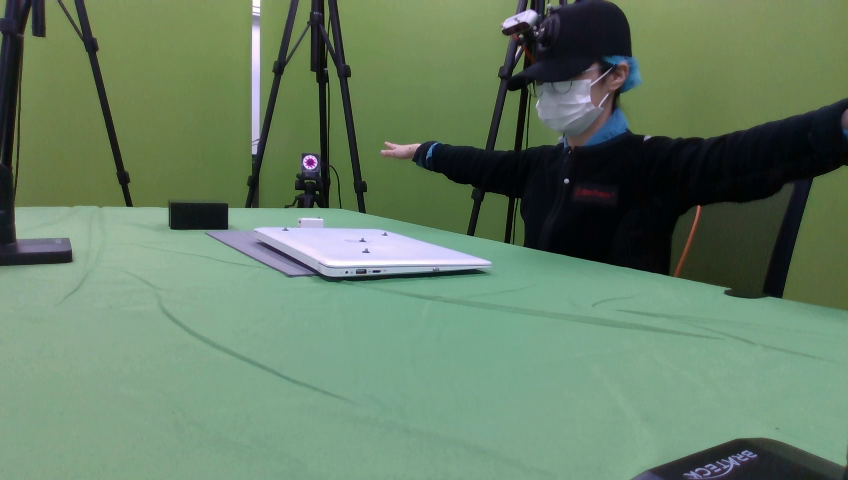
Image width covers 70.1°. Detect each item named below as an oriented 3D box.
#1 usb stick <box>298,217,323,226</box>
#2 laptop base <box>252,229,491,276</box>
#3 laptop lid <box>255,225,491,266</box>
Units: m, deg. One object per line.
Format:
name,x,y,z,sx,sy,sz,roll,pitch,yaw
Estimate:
usb stick,-0.223,-0.031,1.150,0.059,0.027,0.021,-5,11,-29
laptop base,-0.095,0.015,0.889,0.237,0.023,0.352,2,7,-30
laptop lid,-0.092,0.003,0.889,0.243,0.013,0.355,1,8,-28
